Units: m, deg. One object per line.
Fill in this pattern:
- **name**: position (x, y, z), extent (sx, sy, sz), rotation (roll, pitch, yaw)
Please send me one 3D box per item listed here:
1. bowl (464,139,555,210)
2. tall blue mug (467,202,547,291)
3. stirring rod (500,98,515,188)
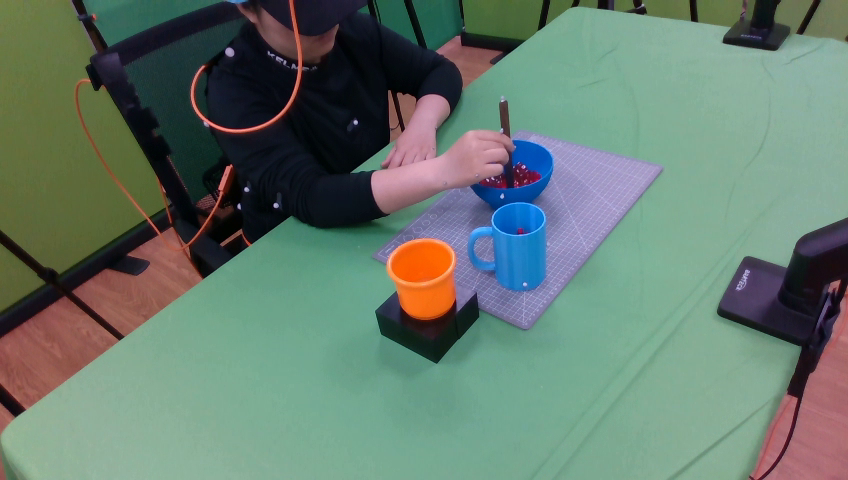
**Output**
- **bowl**: position (0.145, -0.100, 1.025), extent (0.151, 0.077, 0.150), rotation (-5, 40, 5)
- **tall blue mug**: position (0.125, 0.015, 0.869), extent (0.107, 0.108, 0.077), rotation (-21, 42, -14)
- **stirring rod**: position (0.133, -0.144, 0.956), extent (0.014, 0.177, 0.005), rotation (-24, 42, -14)
